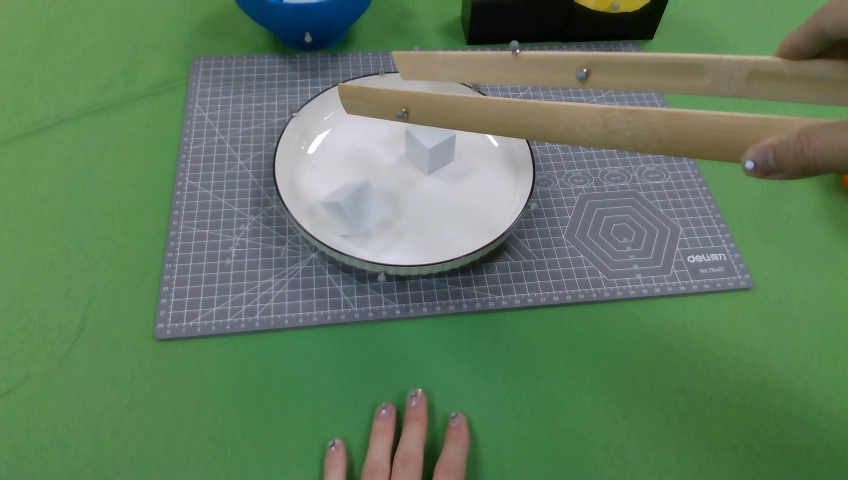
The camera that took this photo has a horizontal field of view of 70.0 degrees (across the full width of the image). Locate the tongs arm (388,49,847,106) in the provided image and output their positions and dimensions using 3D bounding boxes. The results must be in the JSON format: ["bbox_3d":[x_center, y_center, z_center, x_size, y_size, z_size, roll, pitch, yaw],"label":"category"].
[{"bbox_3d":[0.108,-0.090,0.354,0.381,0.027,0.050,14,47,38],"label":"tongs arm"}]

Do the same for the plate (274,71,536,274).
[{"bbox_3d":[-0.014,-0.056,0.496,0.208,0.039,0.205,2,56,-2],"label":"plate"}]

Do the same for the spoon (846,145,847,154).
[{"bbox_3d":[0.425,-0.069,0.467,0.041,0.192,0.022,-23,103,-15],"label":"spoon"}]

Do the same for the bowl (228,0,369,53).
[{"bbox_3d":[-0.119,-0.239,0.594,0.151,0.077,0.150,2,55,-2],"label":"bowl"}]

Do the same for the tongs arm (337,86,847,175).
[{"bbox_3d":[0.085,-0.068,0.336,0.384,0.028,0.028,14,43,38],"label":"tongs arm"}]

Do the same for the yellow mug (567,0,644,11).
[{"bbox_3d":[0.163,-0.274,0.581,0.131,0.064,0.099,-18,58,-14],"label":"yellow mug"}]
